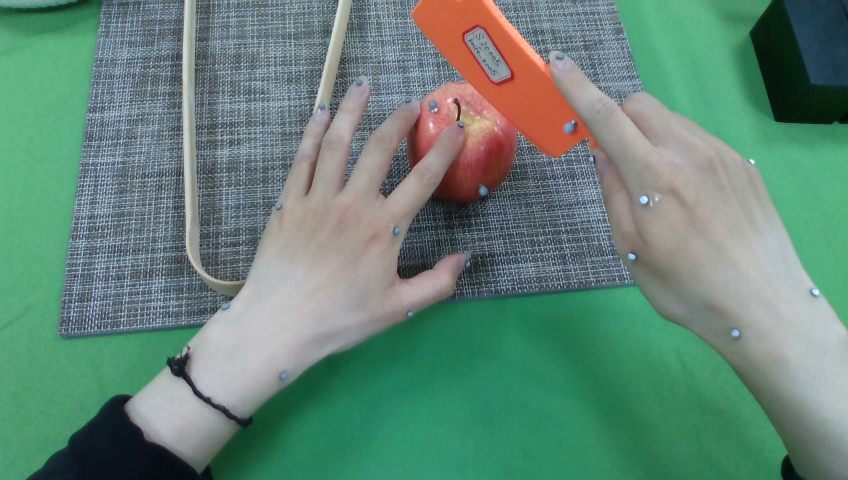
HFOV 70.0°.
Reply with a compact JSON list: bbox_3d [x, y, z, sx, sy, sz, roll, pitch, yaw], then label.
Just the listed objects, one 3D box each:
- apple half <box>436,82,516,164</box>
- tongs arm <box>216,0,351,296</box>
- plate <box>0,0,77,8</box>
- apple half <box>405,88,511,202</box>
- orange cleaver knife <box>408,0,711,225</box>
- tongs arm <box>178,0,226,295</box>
[{"bbox_3d":[0.042,-0.085,0.445,0.081,0.082,0.033,40,73,15],"label":"apple half"},{"bbox_3d":[-0.095,-0.138,0.485,0.051,0.027,0.382,6,66,-1],"label":"tongs arm"},{"bbox_3d":[-0.332,-0.279,0.534,0.209,0.038,0.207,1,65,-3],"label":"plate"},{"bbox_3d":[0.016,-0.059,0.433,0.080,0.075,0.053,43,73,12],"label":"apple half"},{"bbox_3d":[0.074,-0.077,0.359,0.211,0.077,0.012,42,68,2],"label":"orange cleaver knife"},{"bbox_3d":[-0.180,-0.139,0.482,0.028,0.028,0.384,-6,66,-10],"label":"tongs arm"}]
